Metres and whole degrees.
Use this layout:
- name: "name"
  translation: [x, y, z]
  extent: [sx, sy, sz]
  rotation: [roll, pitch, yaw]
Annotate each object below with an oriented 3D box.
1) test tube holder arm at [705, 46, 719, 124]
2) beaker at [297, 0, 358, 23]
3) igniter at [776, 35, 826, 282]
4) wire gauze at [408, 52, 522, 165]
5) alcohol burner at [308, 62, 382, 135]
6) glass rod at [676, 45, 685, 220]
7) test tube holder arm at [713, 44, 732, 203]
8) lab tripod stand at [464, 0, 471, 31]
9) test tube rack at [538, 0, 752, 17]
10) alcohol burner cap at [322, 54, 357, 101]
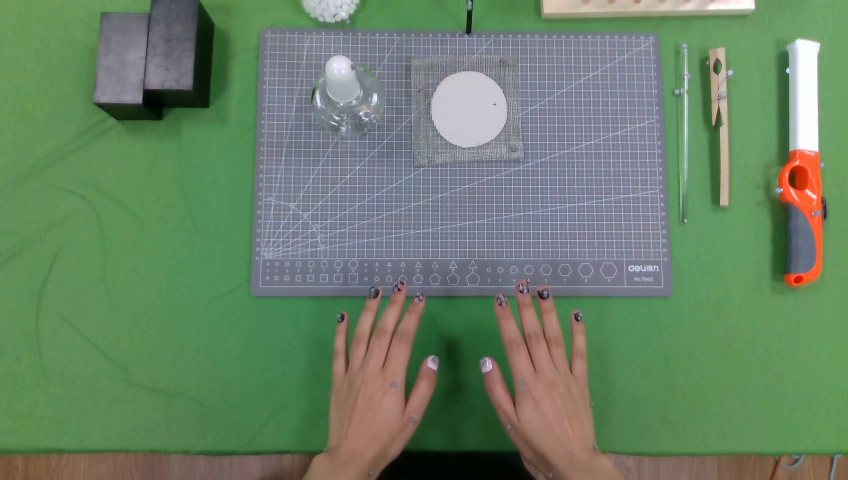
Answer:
- name: "test tube holder arm"
  translation: [0.324, -0.173, 0.678]
  extent: [0.010, 0.015, 0.087]
  rotation: [-6, 81, 35]
- name: "beaker"
  translation: [-0.111, -0.284, 0.641]
  extent: [0.084, 0.100, 0.074]
  rotation: [18, 82, 2]
- name: "igniter"
  translation: [0.413, -0.091, 0.664]
  extent: [0.057, 0.025, 0.275]
  rotation: [6, 82, -10]
- name: "wire gauze"
  translation: [0.044, -0.147, 0.670]
  extent: [0.121, 0.011, 0.125]
  rotation: [-3, 86, -2]
- name: "alcohol burner"
  translation: [-0.082, -0.151, 0.614]
  extent: [0.078, 0.119, 0.077]
  rotation: [0, 80, 0]
- name: "glass rod"
  translation: [0.286, -0.121, 0.675]
  extent: [0.008, 0.008, 0.199]
  rotation: [3, 86, -1]
- name: "test tube holder arm"
  translation: [0.329, -0.129, 0.669]
  extent: [0.013, 0.015, 0.178]
  rotation: [-7, 81, 35]
- name: "lab tripod stand"
  translation: [0.041, -0.317, 0.630]
  extent: [0.148, 0.132, 0.148]
  rotation: [0, 81, 1]
- name: "test tube rack"
  translation: [0.251, -0.299, 0.658]
  extent: [0.242, 0.085, 0.066]
  rotation: [-2, 82, -1]
- name: "alcohol burner cap"
  translation: [-0.082, -0.158, 0.578]
  extent: [0.034, 0.048, 0.033]
  rotation: [1, 73, -3]
